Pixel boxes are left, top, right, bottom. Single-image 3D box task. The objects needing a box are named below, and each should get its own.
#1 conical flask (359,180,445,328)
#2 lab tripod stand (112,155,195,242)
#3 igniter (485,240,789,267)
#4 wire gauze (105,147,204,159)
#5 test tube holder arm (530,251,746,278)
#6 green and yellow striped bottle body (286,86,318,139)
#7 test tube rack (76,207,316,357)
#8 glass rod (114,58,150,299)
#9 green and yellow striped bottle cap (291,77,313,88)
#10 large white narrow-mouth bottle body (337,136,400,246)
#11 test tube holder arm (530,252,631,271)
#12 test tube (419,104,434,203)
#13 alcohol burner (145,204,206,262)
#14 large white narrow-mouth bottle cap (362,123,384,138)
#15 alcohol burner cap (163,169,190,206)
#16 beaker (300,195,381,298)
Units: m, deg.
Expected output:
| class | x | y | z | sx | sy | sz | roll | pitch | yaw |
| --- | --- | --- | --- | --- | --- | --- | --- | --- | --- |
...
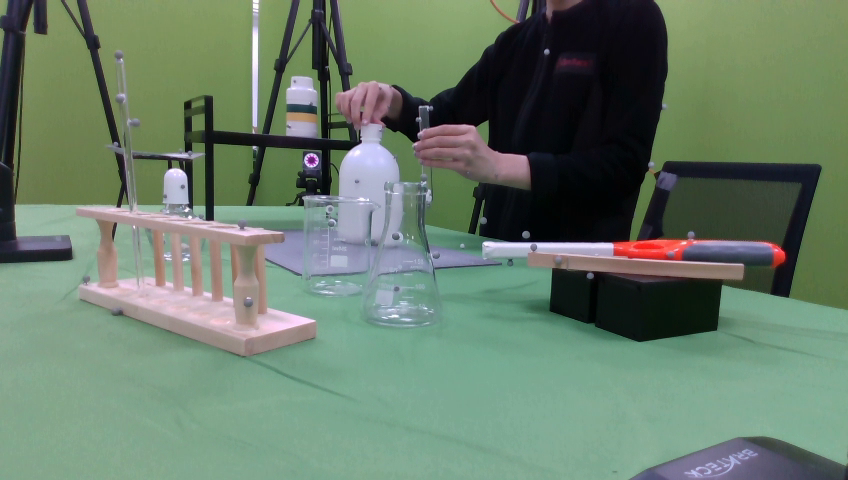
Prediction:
| class | x | y | z | sx | sy | sz | roll | pitch | yaw |
| --- | --- | --- | --- | --- | --- | --- | --- | --- | --- |
| conical flask | -0.017 | 0.010 | 0.522 | 0.075 | 0.122 | 0.075 | 2 | 7 | 0 |
| lab tripod stand | -0.405 | -0.064 | 0.931 | 0.148 | 0.131 | 0.148 | 1 | 7 | 0 |
| igniter | 0.197 | 0.012 | 0.585 | 0.276 | 0.025 | 0.057 | 1 | 5 | 12 |
| wire gauze | -0.407 | -0.131 | 0.928 | 0.125 | 0.011 | 0.121 | 2 | 6 | -11 |
| test tube holder arm | 0.182 | 0.022 | 0.524 | 0.178 | 0.015 | 0.013 | 3 | 6 | 11 |
| green and yellow striped bottle body | -0.251 | -0.270 | 1.245 | 0.063 | 0.119 | 0.063 | 2 | 7 | 0 |
| test tube rack | -0.196 | 0.023 | 0.500 | 0.241 | 0.085 | 0.067 | 8 | 9 | 36 |
| glass rod | -0.236 | -0.044 | 0.491 | 0.008 | 0.199 | 0.008 | 0 | 15 | 0 |
| green and yellow striped bottle cap | -0.250 | -0.321 | 1.238 | 0.045 | 0.020 | 0.045 | 3 | 6 | 0 |
| large white narrow-mouth bottle body | -0.091 | -0.092 | 1.006 | 0.102 | 0.194 | 0.102 | 4 | 7 | 0 |
| test tube holder arm | 0.139 | 0.019 | 0.538 | 0.087 | 0.015 | 0.010 | 3 | 6 | 13 |
| test tube | 0.004 | -0.131 | 0.924 | 0.017 | 0.150 | 0.017 | -3 | 11 | 1 |
| alcohol burner | -0.321 | -0.032 | 0.788 | 0.078 | 0.119 | 0.078 | 0 | 7 | 0 |
| large white narrow-mouth bottle cap | -0.084 | -0.180 | 0.995 | 0.038 | 0.024 | 0.037 | 4 | 7 | 0 |
| alcohol burner cap | -0.320 | -0.068 | 0.782 | 0.034 | 0.048 | 0.034 | 1 | 7 | 0 |
| beaker | -0.087 | 0.006 | 0.626 | 0.084 | 0.100 | 0.074 | 1 | 8 | -17 |
